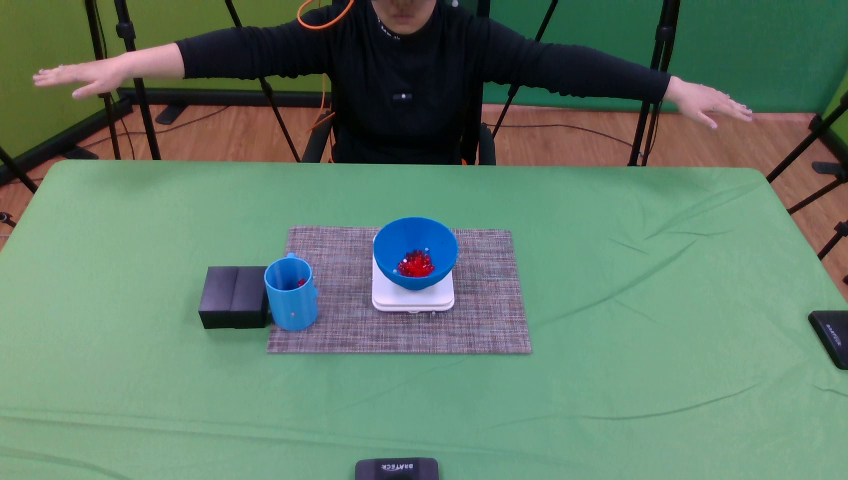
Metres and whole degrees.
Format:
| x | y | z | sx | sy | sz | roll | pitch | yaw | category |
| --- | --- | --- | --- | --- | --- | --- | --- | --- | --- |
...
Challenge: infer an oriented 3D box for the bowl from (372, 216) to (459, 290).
| x | y | z | sx | sy | sz | roll | pitch | yaw | category |
| --- | --- | --- | --- | --- | --- | --- | --- | --- | --- |
| -0.015 | 0.036 | 1.075 | 0.151 | 0.077 | 0.150 | 2 | 46 | -1 | bowl |

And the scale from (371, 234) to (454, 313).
| x | y | z | sx | sy | sz | roll | pitch | yaw | category |
| --- | --- | --- | --- | --- | --- | --- | --- | --- | --- |
| -0.023 | 0.050 | 1.134 | 0.149 | 0.032 | 0.199 | 1 | 46 | -4 | scale |

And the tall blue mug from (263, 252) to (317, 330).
| x | y | z | sx | sy | sz | roll | pitch | yaw | category |
| --- | --- | --- | --- | --- | --- | --- | --- | --- | --- |
| -0.233 | 0.081 | 1.036 | 0.078 | 0.108 | 0.106 | -25 | 53 | -24 | tall blue mug |
